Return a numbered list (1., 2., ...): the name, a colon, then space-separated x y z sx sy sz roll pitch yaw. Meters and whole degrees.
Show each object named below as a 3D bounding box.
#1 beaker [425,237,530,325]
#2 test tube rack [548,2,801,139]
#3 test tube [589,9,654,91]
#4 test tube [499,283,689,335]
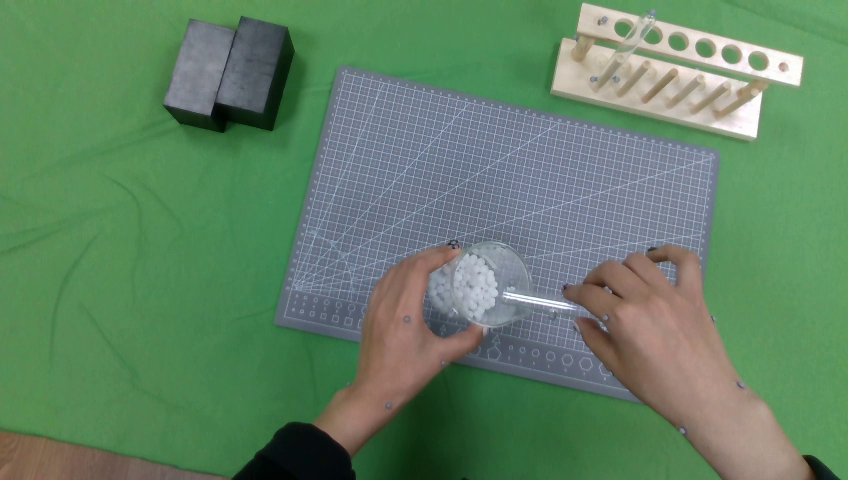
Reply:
1. beaker: 0.047 0.040 0.559 0.084 0.100 0.074 33 79 -10
2. test tube rack: 0.271 -0.184 0.672 0.242 0.085 0.066 13 80 -1
3. test tube: 0.200 -0.191 0.623 0.017 0.150 0.017 1 79 -3
4. test tube: 0.134 0.055 0.491 0.150 0.017 0.017 9 79 20
